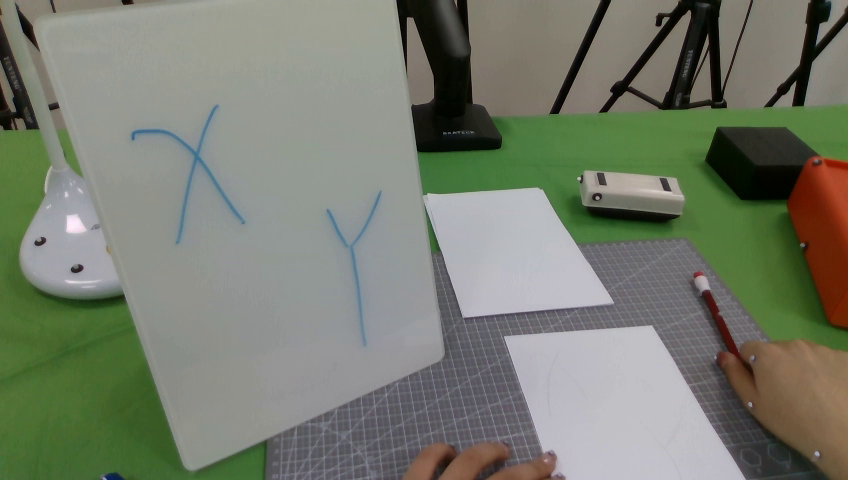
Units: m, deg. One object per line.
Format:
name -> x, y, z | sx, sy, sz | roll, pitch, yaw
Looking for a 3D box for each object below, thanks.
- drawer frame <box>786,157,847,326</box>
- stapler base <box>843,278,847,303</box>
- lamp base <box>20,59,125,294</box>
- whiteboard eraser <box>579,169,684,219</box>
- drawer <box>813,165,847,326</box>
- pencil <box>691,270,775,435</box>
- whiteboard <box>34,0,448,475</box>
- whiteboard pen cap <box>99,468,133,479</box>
drawer frame -> 0.508, 0.010, 0.621 | 0.201, 0.083, 0.212 | 10, 37, 9
stapler base -> 0.483, 0.057, 0.588 | 0.130, 0.024, 0.041 | 11, 52, 8
lamp base -> -0.318, -0.067, 0.564 | 0.178, 0.182, 0.160 | 21, 41, 25
whiteboard eraser -> 0.243, -0.053, 0.714 | 0.112, 0.042, 0.055 | 6, 39, 3
drawer -> 0.508, 0.014, 0.618 | 0.194, 0.074, 0.210 | 11, 38, 11
pencil -> 0.276, 0.093, 0.547 | 0.012, 0.012, 0.192 | 3, 39, -1
whiteboard -> -0.125, -0.024, 0.471 | 0.218, 0.307, 0.142 | -18, 24, -25
whiteboard pen cap -> -0.200, 0.167, 0.404 | 0.033, 0.018, 0.018 | 21, 41, 25
